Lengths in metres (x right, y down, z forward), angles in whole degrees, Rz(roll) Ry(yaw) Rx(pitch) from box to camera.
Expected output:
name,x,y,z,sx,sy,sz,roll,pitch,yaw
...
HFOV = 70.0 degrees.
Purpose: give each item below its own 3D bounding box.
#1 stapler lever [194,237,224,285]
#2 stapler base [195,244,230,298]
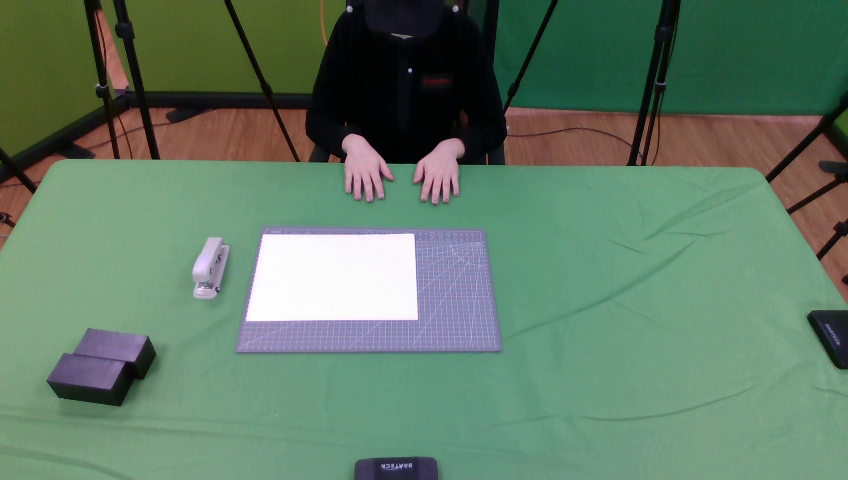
name,x,y,z,sx,sy,sz,roll,pitch,yaw
stapler lever,-0.390,0.031,1.101,0.027,0.040,0.117,2,44,-5
stapler base,-0.391,0.050,1.118,0.041,0.024,0.129,2,44,-5
